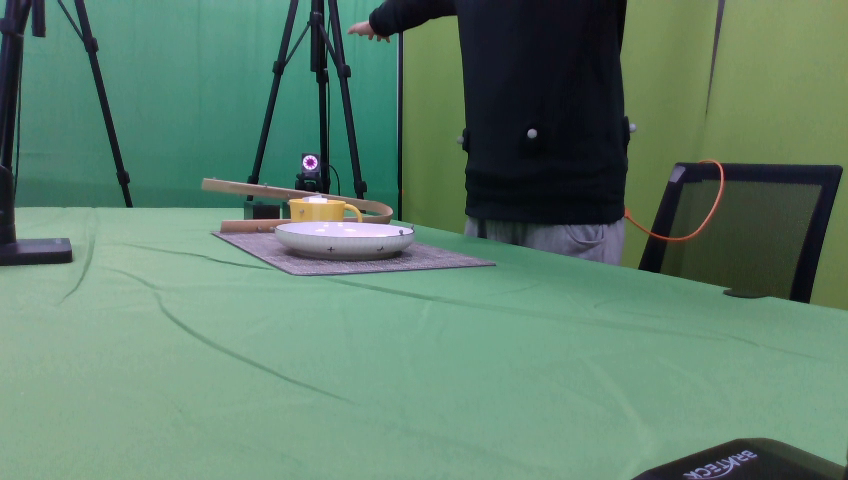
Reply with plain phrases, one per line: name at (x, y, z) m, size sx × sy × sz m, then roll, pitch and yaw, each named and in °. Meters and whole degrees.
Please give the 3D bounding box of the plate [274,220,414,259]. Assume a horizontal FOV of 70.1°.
plate at (-0.118, -0.001, 0.903) m, size 0.208 × 0.039 × 0.207 m, roll 3°, pitch 7°, yaw 0°

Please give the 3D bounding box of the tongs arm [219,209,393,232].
tongs arm at (-0.210, -0.037, 1.182) m, size 0.390 × 0.028 × 0.028 m, roll -5°, pitch 32°, yaw -41°

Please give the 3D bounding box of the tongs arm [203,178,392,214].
tongs arm at (-0.247, -0.083, 1.239) m, size 0.387 × 0.026 × 0.050 m, roll 4°, pitch 30°, yaw -30°

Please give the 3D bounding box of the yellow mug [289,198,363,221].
yellow mug at (-0.174, -0.039, 1.072) m, size 0.131 × 0.064 × 0.100 m, roll 3°, pitch 7°, yaw 0°
